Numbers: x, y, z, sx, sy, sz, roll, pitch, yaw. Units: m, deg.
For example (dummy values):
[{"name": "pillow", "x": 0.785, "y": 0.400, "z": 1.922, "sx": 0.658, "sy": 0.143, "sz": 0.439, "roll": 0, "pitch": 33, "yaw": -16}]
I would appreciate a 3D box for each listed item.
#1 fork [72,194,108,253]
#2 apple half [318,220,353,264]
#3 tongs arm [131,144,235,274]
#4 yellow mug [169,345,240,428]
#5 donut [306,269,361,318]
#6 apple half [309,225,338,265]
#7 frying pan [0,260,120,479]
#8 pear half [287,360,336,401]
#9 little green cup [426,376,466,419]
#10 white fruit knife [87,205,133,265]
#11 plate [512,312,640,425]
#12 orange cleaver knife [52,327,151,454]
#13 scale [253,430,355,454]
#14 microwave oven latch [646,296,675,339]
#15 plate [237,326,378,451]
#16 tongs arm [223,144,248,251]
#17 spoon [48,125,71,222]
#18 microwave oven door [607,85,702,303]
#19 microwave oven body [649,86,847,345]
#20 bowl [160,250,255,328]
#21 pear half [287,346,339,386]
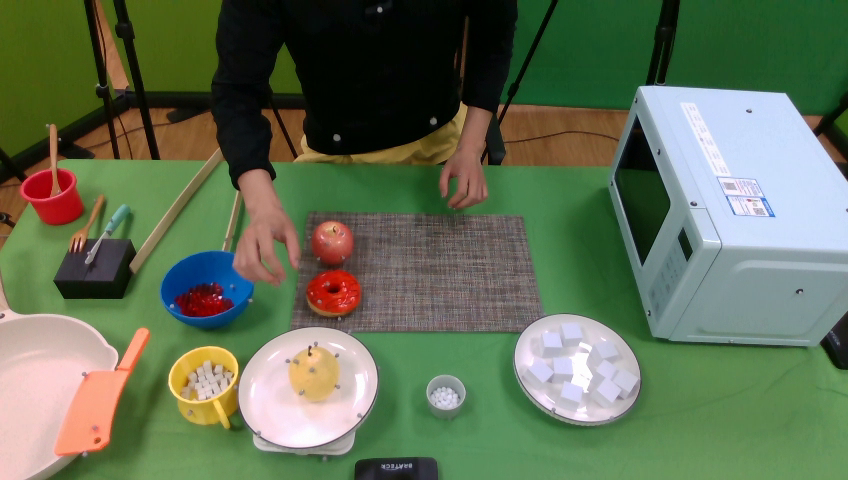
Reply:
[{"name": "fork", "x": -0.634, "y": -0.036, "z": 1.158, "sx": 0.028, "sy": 0.019, "sz": 0.206, "roll": -7, "pitch": 32, "yaw": -8}, {"name": "apple half", "x": -0.162, "y": 0.001, "z": 1.144, "sx": 0.053, "sy": 0.075, "sz": 0.080, "roll": -25, "pitch": 50, "yaw": -29}, {"name": "tongs arm", "x": -0.484, "y": -0.076, "z": 1.235, "sx": 0.028, "sy": 0.028, "sz": 0.385, "roll": 5, "pitch": 45, "yaw": 13}, {"name": "yellow mug", "x": -0.323, "y": 0.230, "z": 0.922, "sx": 0.100, "sy": 0.064, "sz": 0.130, "roll": -24, "pitch": 53, "yaw": -25}, {"name": "donut", "x": -0.160, "y": 0.094, "z": 1.075, "sx": 0.099, "sy": 0.048, "sz": 0.098, "roll": 3, "pitch": 45, "yaw": -3}, {"name": "apple half", "x": -0.193, "y": 0.017, "z": 1.125, "sx": 0.033, "sy": 0.081, "sz": 0.081, "roll": -27, "pitch": 53, "yaw": -31}, {"name": "frying pan", "x": -0.647, "y": 0.164, "z": 0.936, "sx": 0.307, "sy": 0.103, "sz": 0.485, "roll": -19, "pitch": 58, "yaw": -22}, {"name": "pear half", "x": -0.164, "y": 0.211, "z": 0.882, "sx": 0.070, "sy": 0.088, "sz": 0.031, "roll": 0, "pitch": 46, "yaw": -7}, {"name": "little green cup", "x": 0.033, "y": 0.248, "z": 0.950, "sx": 0.061, "sy": 0.039, "sz": 0.061, "roll": 2, "pitch": 46, "yaw": -2}, {"name": "white fruit knife", "x": -0.584, "y": -0.013, "z": 1.129, "sx": 0.016, "sy": 0.027, "sz": 0.206, "roll": -1, "pitch": 31, "yaw": -4}, {"name": "plate", "x": 0.246, "y": 0.213, "z": 0.999, "sx": 0.208, "sy": 0.039, "sz": 0.206, "roll": 2, "pitch": 46, "yaw": -2}, {"name": "orange cleaver knife", "x": -0.462, "y": 0.212, "z": 0.879, "sx": 0.077, "sy": 0.012, "sz": 0.210, "roll": 7, "pitch": 45, "yaw": -2}, {"name": "scale", "x": -0.175, "y": 0.236, "z": 0.951, "sx": 0.149, "sy": 0.032, "sz": 0.199, "roll": 4, "pitch": 45, "yaw": 0}, {"name": "microwave oven latch", "x": 0.412, "y": 0.134, "z": 1.061, "sx": 0.030, "sy": 0.029, "sz": 0.078, "roll": 4, "pitch": 45, "yaw": 1}, {"name": "plate", "x": -0.174, "y": 0.224, "z": 0.917, "sx": 0.209, "sy": 0.038, "sz": 0.208, "roll": 2, "pitch": 46, "yaw": -2}, {"name": "tongs arm", "x": -0.398, "y": -0.073, "z": 1.232, "sx": 0.051, "sy": 0.027, "sz": 0.382, "roll": -3, "pitch": 45, "yaw": 0}, {"name": "spoon", "x": -0.719, "y": -0.131, "z": 1.188, "sx": 0.041, "sy": 0.021, "sz": 0.193, "roll": -3, "pitch": 90, "yaw": -7}, {"name": "microwave oven door", "x": 0.423, "y": -0.094, "z": 1.140, "sx": 0.039, "sy": 0.245, "sz": 0.353, "roll": 2, "pitch": 46, "yaw": -1}, {"name": "microwave oven body", "x": 0.567, "y": -0.053, "z": 1.118, "sx": 0.326, "sy": 0.261, "sz": 0.439, "roll": 2, "pitch": 45, "yaw": -1}, {"name": "bowl", "x": -0.362, "y": 0.098, "z": 1.040, "sx": 0.151, "sy": 0.077, "sz": 0.150, "roll": 2, "pitch": 45, "yaw": -2}, {"name": "pear half", "x": -0.164, "y": 0.179, "z": 0.899, "sx": 0.076, "sy": 0.110, "sz": 0.055, "roll": 1, "pitch": 46, "yaw": -7}]
